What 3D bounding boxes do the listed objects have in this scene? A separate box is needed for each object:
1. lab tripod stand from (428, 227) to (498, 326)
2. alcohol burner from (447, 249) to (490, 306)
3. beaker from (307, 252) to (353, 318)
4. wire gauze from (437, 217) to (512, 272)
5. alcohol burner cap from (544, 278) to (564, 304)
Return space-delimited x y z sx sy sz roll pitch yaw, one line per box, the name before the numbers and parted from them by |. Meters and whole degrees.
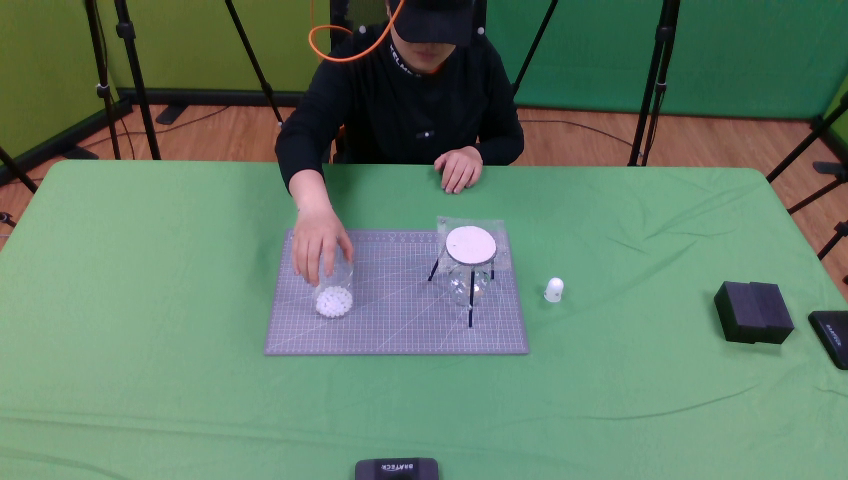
lab tripod stand | 0.079 0.056 1.070 0.148 0.132 0.147 3 47 -3
alcohol burner | 0.079 0.062 1.078 0.078 0.120 0.077 1 45 -1
beaker | -0.159 0.080 1.052 0.074 0.101 0.083 11 46 6
wire gauze | 0.083 0.006 1.025 0.121 0.011 0.124 2 47 -4
alcohol burner cap | 0.241 0.091 1.117 0.034 0.048 0.033 2 45 -2
